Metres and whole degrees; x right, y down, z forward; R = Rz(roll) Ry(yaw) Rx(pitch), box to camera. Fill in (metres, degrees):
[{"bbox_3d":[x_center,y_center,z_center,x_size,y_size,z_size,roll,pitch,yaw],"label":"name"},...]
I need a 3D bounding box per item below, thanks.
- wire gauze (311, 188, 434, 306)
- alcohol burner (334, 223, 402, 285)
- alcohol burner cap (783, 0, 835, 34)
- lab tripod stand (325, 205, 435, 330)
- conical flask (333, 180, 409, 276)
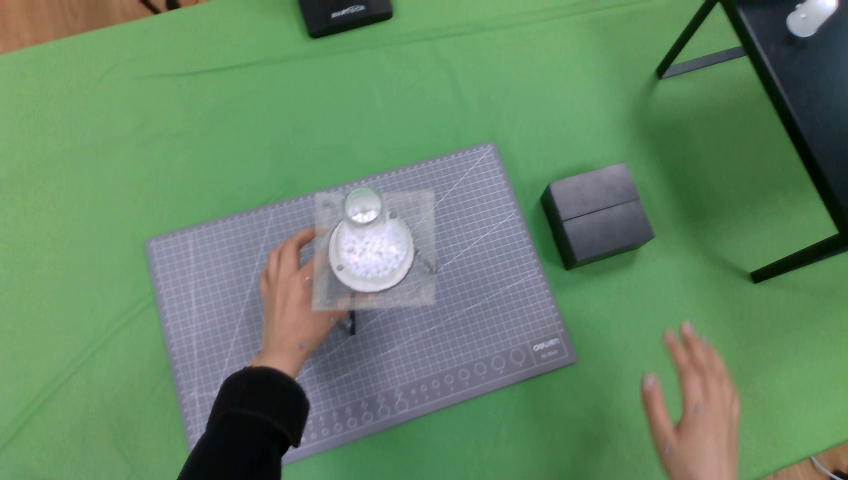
[{"bbox_3d":[-0.051,0.004,0.606,0.121,0.011,0.124,0,72,-4],"label":"wire gauze"},{"bbox_3d":[-0.064,0.014,0.681,0.078,0.119,0.077,1,75,-3],"label":"alcohol burner"},{"bbox_3d":[0.402,-0.241,0.629,0.034,0.048,0.033,1,73,-3],"label":"alcohol burner cap"},{"bbox_3d":[-0.060,0.022,0.669,0.148,0.132,0.147,0,75,-1],"label":"lab tripod stand"},{"bbox_3d":[-0.052,-0.015,0.550,0.075,0.122,0.075,1,74,-1],"label":"conical flask"}]
